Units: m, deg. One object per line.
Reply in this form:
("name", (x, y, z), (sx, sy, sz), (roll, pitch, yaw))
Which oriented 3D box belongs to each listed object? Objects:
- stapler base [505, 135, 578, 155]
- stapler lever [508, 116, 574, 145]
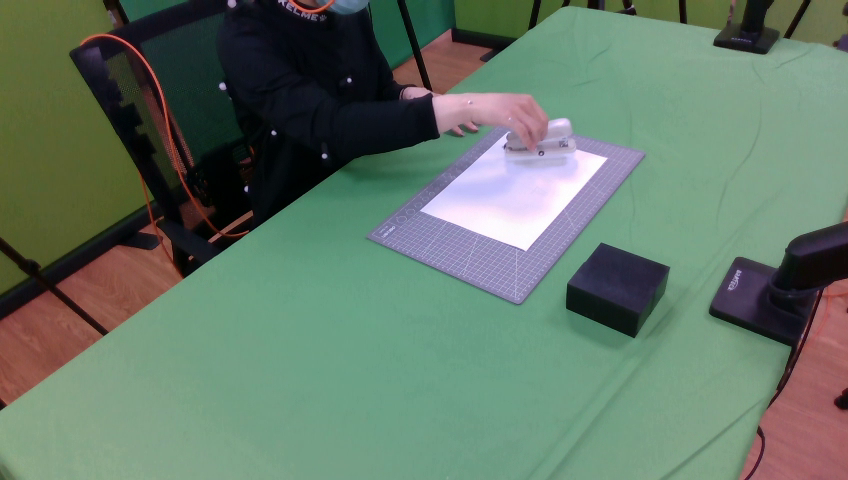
("stapler base", (0.215, -0.180, 1.108), (0.130, 0.024, 0.041), (-4, 42, 7))
("stapler lever", (0.210, -0.197, 1.090), (0.118, 0.040, 0.026), (-5, 43, 7))
